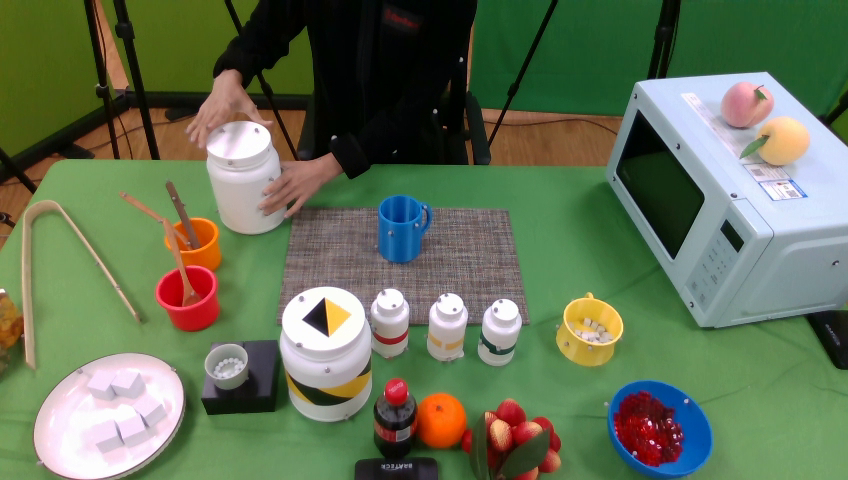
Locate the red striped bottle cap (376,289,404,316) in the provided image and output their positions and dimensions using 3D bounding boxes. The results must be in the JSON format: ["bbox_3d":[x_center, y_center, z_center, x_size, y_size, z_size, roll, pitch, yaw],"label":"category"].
[{"bbox_3d":[-0.055,0.098,0.959,0.044,0.018,0.044,0,48,1],"label":"red striped bottle cap"}]

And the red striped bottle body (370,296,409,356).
[{"bbox_3d":[-0.058,0.134,0.997,0.063,0.120,0.062,4,47,-4],"label":"red striped bottle body"}]

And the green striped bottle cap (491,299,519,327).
[{"bbox_3d":[0.128,0.115,0.958,0.044,0.020,0.044,1,46,-1],"label":"green striped bottle cap"}]

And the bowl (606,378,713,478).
[{"bbox_3d":[0.340,0.292,0.906,0.151,0.077,0.150,2,46,-2],"label":"bowl"}]

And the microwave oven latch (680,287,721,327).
[{"bbox_3d":[0.494,0.119,1.087,0.030,0.029,0.078,-6,46,-10],"label":"microwave oven latch"}]

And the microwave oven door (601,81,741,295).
[{"bbox_3d":[0.455,-0.107,1.162,0.039,0.245,0.353,-6,47,-11],"label":"microwave oven door"}]

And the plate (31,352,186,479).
[{"bbox_3d":[-0.459,0.262,0.898,0.209,0.038,0.208,2,45,-2],"label":"plate"}]

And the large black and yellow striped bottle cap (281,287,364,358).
[{"bbox_3d":[-0.141,0.112,0.847,0.115,0.019,0.114,5,45,-4],"label":"large black and yellow striped bottle cap"}]

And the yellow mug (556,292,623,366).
[{"bbox_3d":[0.285,0.145,1.051,0.100,0.064,0.130,7,45,3],"label":"yellow mug"}]

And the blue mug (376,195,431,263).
[{"bbox_3d":[-0.035,-0.027,1.159,0.116,0.106,0.082,-24,53,-25],"label":"blue mug"}]

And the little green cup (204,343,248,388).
[{"bbox_3d":[-0.294,0.190,0.909,0.061,0.039,0.061,1,48,-1],"label":"little green cup"}]

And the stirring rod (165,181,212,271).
[{"bbox_3d":[-0.430,-0.025,1.107,0.014,0.006,0.176,-25,94,-20],"label":"stirring rod"}]

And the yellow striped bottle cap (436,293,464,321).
[{"bbox_3d":[0.041,0.106,0.959,0.044,0.019,0.044,-1,49,1],"label":"yellow striped bottle cap"}]

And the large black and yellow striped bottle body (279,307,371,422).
[{"bbox_3d":[-0.145,0.173,0.907,0.131,0.185,0.130,2,46,-2],"label":"large black and yellow striped bottle body"}]

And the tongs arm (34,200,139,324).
[{"bbox_3d":[-0.622,0.034,1.105,0.051,0.026,0.382,-32,56,-26],"label":"tongs arm"}]

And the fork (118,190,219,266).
[{"bbox_3d":[-0.459,-0.020,1.092,0.208,0.018,0.028,44,44,-24],"label":"fork"}]

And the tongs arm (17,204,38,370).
[{"bbox_3d":[-0.698,0.069,1.068,0.028,0.028,0.385,-20,50,-13],"label":"tongs arm"}]

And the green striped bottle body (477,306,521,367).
[{"bbox_3d":[0.124,0.151,0.995,0.063,0.120,0.063,2,46,-2],"label":"green striped bottle body"}]

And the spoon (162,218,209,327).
[{"bbox_3d":[-0.409,0.054,1.029,0.041,0.021,0.194,-17,94,-15],"label":"spoon"}]

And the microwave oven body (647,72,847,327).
[{"bbox_3d":[0.607,-0.089,1.164,0.326,0.261,0.438,-7,46,-10],"label":"microwave oven body"}]

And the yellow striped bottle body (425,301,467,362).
[{"bbox_3d":[0.037,0.142,0.996,0.063,0.121,0.062,3,47,-3],"label":"yellow striped bottle body"}]

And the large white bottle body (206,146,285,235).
[{"bbox_3d":[-0.344,-0.116,1.169,0.131,0.185,0.130,2,46,-2],"label":"large white bottle body"}]

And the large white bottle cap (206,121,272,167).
[{"bbox_3d":[-0.337,-0.177,1.104,0.115,0.018,0.114,2,47,-2],"label":"large white bottle cap"}]
